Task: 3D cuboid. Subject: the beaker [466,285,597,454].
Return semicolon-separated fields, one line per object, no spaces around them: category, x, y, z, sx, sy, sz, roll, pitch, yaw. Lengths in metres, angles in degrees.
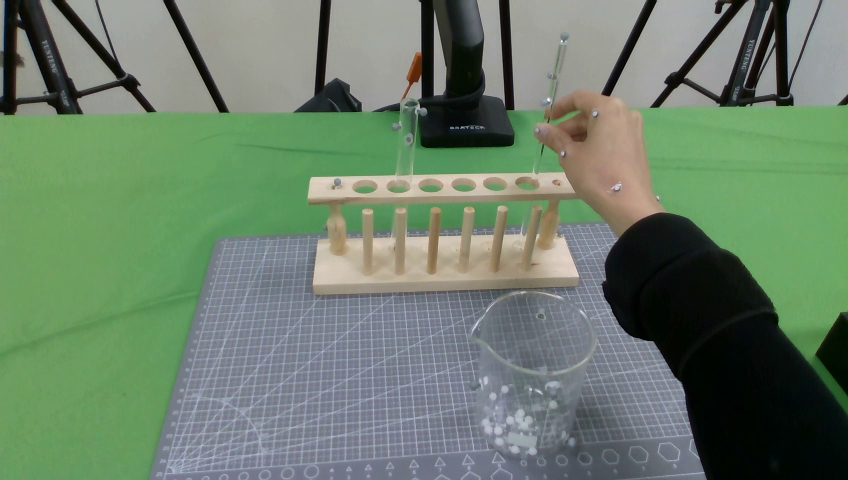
beaker;0.069;0.093;0.418;0.084;0.101;0.073;0;39;-1

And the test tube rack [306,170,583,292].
test tube rack;0.019;-0.009;0.552;0.242;0.086;0.066;-1;40;-4

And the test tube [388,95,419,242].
test tube;-0.019;-0.056;0.529;0.017;0.151;0.017;5;41;-4

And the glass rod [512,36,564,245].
glass rod;0.098;-0.078;0.534;0.008;0.201;0.008;5;35;-3
